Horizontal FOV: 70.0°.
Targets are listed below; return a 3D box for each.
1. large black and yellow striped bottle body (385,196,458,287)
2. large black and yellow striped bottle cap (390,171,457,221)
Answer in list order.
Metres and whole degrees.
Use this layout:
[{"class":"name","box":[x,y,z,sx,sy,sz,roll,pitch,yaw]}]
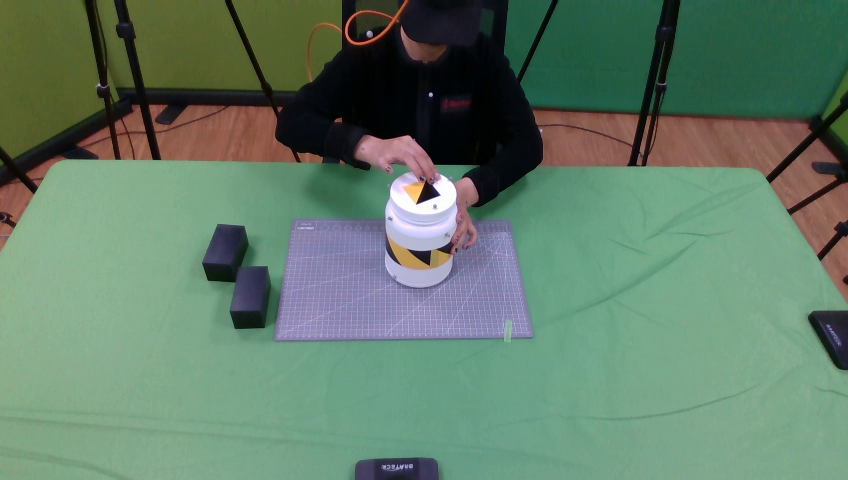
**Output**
[{"class":"large black and yellow striped bottle body","box":[-0.006,-0.018,1.097,0.131,0.185,0.130,2,46,-2]},{"class":"large black and yellow striped bottle cap","box":[-0.001,-0.077,1.034,0.115,0.019,0.114,2,45,-1]}]
